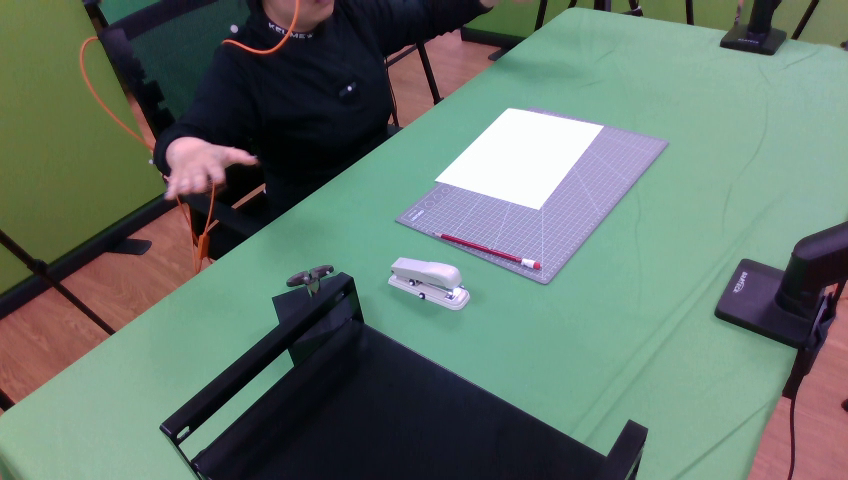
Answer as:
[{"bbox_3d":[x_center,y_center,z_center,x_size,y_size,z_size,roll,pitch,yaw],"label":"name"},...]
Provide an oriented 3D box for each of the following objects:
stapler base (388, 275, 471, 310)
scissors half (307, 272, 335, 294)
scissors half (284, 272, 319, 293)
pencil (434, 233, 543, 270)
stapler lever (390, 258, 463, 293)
[{"bbox_3d":[0.007,0.066,0.897,0.129,0.024,0.041,17,44,29],"label":"stapler base"},{"bbox_3d":[-0.152,0.062,0.872,0.040,0.013,0.175,-1,5,-5],"label":"scissors half"},{"bbox_3d":[-0.172,0.063,0.868,0.040,0.013,0.174,-8,6,-22],"label":"scissors half"},{"bbox_3d":[0.096,0.015,0.949,0.192,0.012,0.012,18,46,29],"label":"pencil"},{"bbox_3d":[0.002,0.046,0.881,0.117,0.040,0.027,17,44,29],"label":"stapler lever"}]
